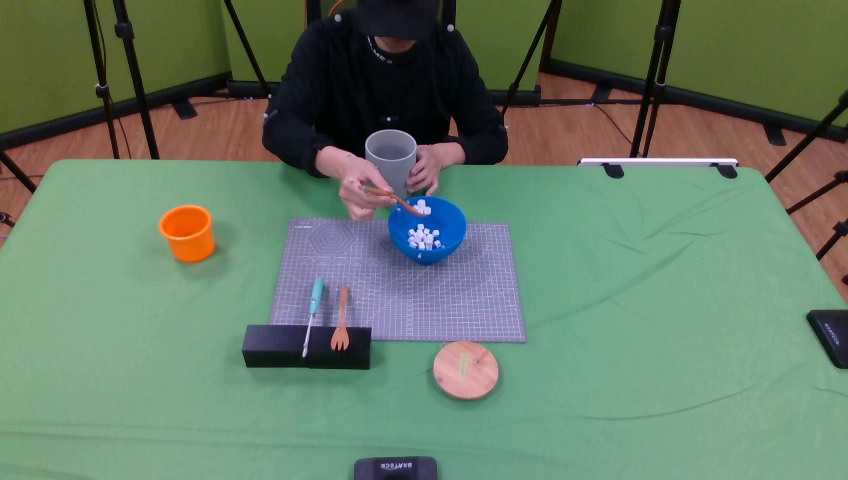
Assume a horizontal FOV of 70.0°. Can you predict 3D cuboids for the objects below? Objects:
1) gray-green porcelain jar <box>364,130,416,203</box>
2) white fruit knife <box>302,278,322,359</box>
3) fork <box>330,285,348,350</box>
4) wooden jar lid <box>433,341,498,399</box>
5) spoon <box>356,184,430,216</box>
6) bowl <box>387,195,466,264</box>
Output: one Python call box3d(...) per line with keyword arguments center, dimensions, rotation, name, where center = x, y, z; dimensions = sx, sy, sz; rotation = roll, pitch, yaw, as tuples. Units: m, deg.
box3d(center=(-0.072, -0.148, 1.264), dimensions=(0.106, 0.127, 0.105), rotation=(3, 46, -2), name="gray-green porcelain jar")
box3d(center=(-0.189, 0.126, 1.020), dimensions=(0.016, 0.027, 0.206), rotation=(-1, 33, -2), name="white fruit knife")
box3d(center=(-0.140, 0.127, 1.021), dimensions=(0.028, 0.019, 0.206), rotation=(-5, 28, -2), name="fork")
box3d(center=(0.068, 0.216, 0.997), dimensions=(0.108, 0.021, 0.107), rotation=(1, 46, -1), name="wooden jar lid")
box3d(center=(-0.053, -0.072, 1.065), dimensions=(0.041, 0.195, 0.021), rotation=(30, 94, 37), name="spoon")
box3d(center=(0.003, -0.007, 1.162), dimensions=(0.151, 0.077, 0.150), rotation=(3, 46, -3), name="bowl")
